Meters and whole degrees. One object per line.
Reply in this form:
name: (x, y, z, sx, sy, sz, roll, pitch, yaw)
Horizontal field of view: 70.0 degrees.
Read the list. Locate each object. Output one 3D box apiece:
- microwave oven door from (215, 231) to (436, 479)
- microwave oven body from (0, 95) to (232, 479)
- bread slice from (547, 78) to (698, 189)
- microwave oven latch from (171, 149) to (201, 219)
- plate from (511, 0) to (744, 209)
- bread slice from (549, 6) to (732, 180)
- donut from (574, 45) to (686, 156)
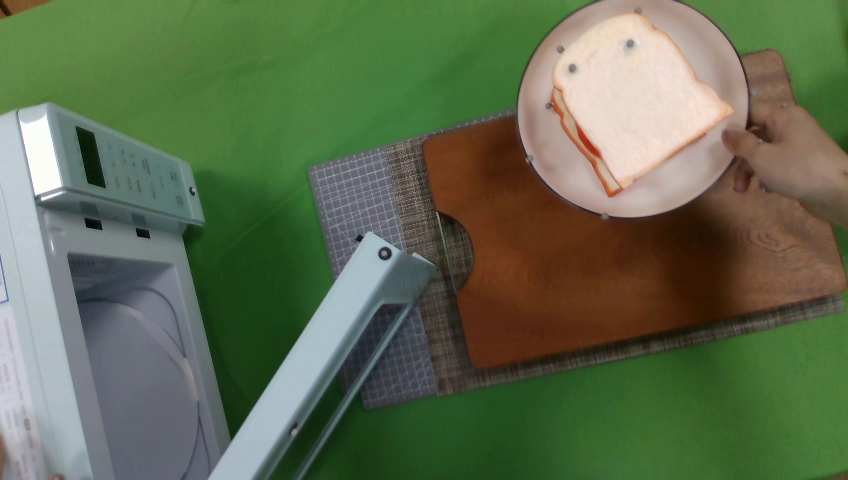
microwave oven door: (-0.109, 0.154, 0.577, 0.039, 0.244, 0.355, 32, 91, 9)
microwave oven body: (-0.396, 0.138, 0.620, 0.326, 0.261, 0.440, -17, 85, 5)
bread slice: (0.181, -0.130, 0.580, 0.105, 0.019, 0.131, -35, 85, 9)
microwave oven latch: (-0.291, -0.066, 0.717, 0.030, 0.029, 0.079, -17, 85, 5)
plate: (0.188, -0.132, 0.577, 0.207, 0.039, 0.207, 0, 91, 12)
bread slice: (0.173, -0.131, 0.521, 0.107, 0.018, 0.133, -39, 78, 11)
donut: (0.185, -0.126, 0.549, 0.099, 0.048, 0.099, 0, 93, 6)
